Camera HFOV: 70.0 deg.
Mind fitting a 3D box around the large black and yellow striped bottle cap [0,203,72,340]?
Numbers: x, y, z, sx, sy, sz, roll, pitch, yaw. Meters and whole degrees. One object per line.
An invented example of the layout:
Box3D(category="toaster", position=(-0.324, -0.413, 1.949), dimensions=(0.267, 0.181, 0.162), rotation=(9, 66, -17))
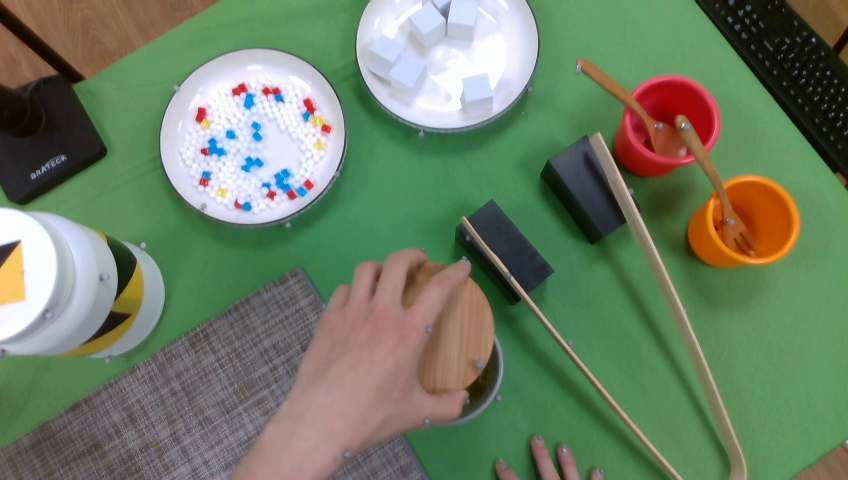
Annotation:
Box3D(category="large black and yellow striped bottle cap", position=(-0.355, 0.026, 0.504), dimensions=(0.115, 0.019, 0.114), rotation=(0, 81, 1))

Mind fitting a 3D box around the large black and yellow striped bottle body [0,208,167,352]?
Box3D(category="large black and yellow striped bottle body", position=(-0.352, 0.043, 0.587), dimensions=(0.131, 0.184, 0.130), rotation=(0, 79, 2))

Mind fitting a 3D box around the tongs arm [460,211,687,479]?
Box3D(category="tongs arm", position=(0.172, 0.111, 0.605), dimensions=(0.051, 0.026, 0.385), rotation=(-38, 91, -7))

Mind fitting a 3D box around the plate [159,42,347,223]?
Box3D(category="plate", position=(-0.189, -0.119, 0.683), dimensions=(0.209, 0.038, 0.208), rotation=(0, 81, 2))

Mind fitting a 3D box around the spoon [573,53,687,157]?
Box3D(category="spoon", position=(0.215, -0.139, 0.620), dimensions=(0.195, 0.021, 0.041), rotation=(27, 76, -37))

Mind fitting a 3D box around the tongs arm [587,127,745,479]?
Box3D(category="tongs arm", position=(0.244, 0.066, 0.612), dimensions=(0.028, 0.028, 0.387), rotation=(-23, 90, -10))

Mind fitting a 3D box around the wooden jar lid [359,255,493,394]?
Box3D(category="wooden jar lid", position=(0.003, 0.066, 0.480), dimensions=(0.108, 0.021, 0.108), rotation=(-1, 85, 14))

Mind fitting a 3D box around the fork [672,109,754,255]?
Box3D(category="fork", position=(0.289, -0.054, 0.601), dimensions=(0.028, 0.018, 0.209), rotation=(-42, 125, 3))

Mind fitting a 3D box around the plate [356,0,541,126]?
Box3D(category="plate", position=(0.028, -0.225, 0.695), dimensions=(0.207, 0.039, 0.207), rotation=(0, 80, 2))

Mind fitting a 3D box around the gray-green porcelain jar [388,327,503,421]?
Box3D(category="gray-green porcelain jar", position=(0.020, 0.117, 0.592), dimensions=(0.106, 0.127, 0.105), rotation=(0, 79, 2))
